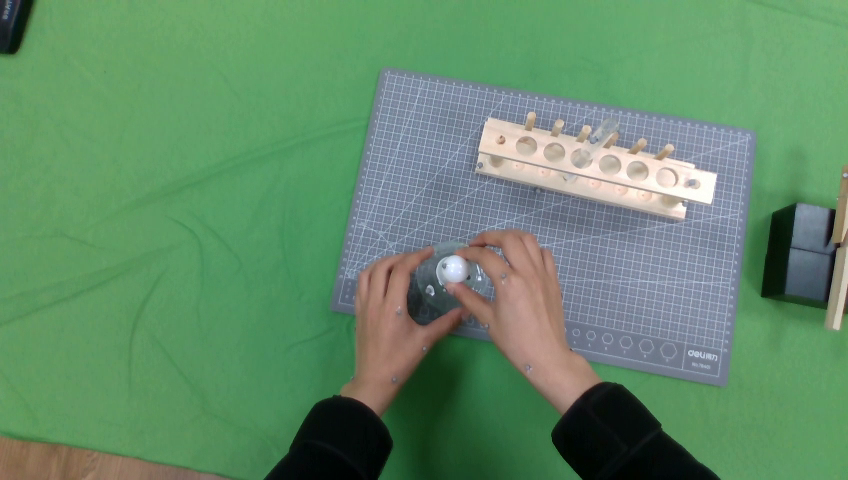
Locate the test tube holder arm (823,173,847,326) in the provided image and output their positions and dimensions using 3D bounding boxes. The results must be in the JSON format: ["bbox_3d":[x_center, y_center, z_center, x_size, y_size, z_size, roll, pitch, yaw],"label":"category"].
[{"bbox_3d":[0.438,0.003,0.637,0.013,0.015,0.178,11,83,-5],"label":"test tube holder arm"}]

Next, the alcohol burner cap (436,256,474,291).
[{"bbox_3d":[0.028,0.032,0.595,0.034,0.048,0.033,-3,80,19],"label":"alcohol burner cap"}]

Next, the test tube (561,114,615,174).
[{"bbox_3d":[0.163,-0.094,0.614,0.017,0.150,0.017,0,80,-1],"label":"test tube"}]

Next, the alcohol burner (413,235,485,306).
[{"bbox_3d":[0.027,0.030,0.636,0.078,0.119,0.077,0,81,0],"label":"alcohol burner"}]

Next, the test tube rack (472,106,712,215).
[{"bbox_3d":[0.179,-0.095,0.665,0.242,0.085,0.066,14,82,3],"label":"test tube rack"}]

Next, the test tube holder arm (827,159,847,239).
[{"bbox_3d":[0.441,-0.042,0.642,0.010,0.015,0.087,12,83,-4],"label":"test tube holder arm"}]
